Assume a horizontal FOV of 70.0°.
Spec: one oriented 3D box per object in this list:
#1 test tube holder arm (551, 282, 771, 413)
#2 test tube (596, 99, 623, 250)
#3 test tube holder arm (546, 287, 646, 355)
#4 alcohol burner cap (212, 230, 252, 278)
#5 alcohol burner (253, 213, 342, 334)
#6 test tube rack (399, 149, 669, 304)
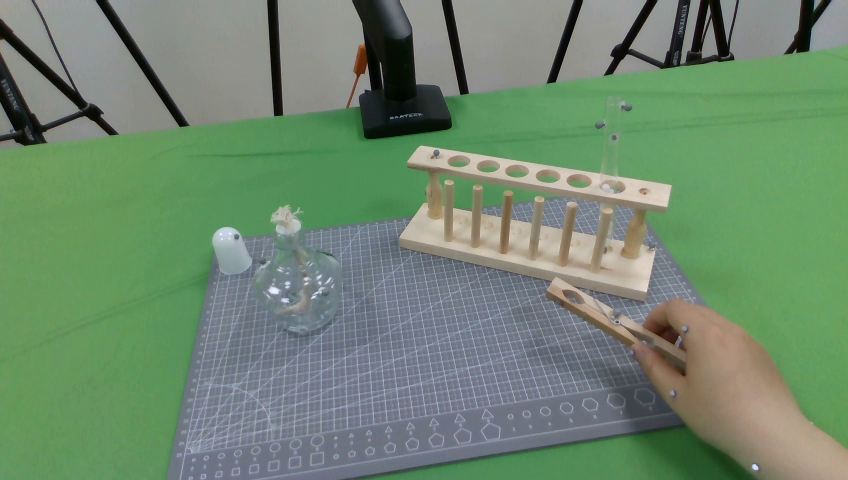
[{"bbox_3d":[0.177,0.081,0.470,0.177,0.015,0.013,28,73,21],"label":"test tube holder arm"},{"bbox_3d":[0.163,-0.053,0.536,0.017,0.151,0.017,-6,36,5],"label":"test tube"},{"bbox_3d":[0.138,0.064,0.485,0.087,0.015,0.010,30,74,21],"label":"test tube holder arm"},{"bbox_3d":[-0.193,0.011,0.603,0.034,0.048,0.033,-1,40,1],"label":"alcohol burner cap"},{"bbox_3d":[-0.111,0.025,0.522,0.078,0.120,0.077,-1,40,1],"label":"alcohol burner"},{"bbox_3d":[0.096,-0.017,0.578,0.241,0.086,0.066,12,42,19],"label":"test tube rack"}]
